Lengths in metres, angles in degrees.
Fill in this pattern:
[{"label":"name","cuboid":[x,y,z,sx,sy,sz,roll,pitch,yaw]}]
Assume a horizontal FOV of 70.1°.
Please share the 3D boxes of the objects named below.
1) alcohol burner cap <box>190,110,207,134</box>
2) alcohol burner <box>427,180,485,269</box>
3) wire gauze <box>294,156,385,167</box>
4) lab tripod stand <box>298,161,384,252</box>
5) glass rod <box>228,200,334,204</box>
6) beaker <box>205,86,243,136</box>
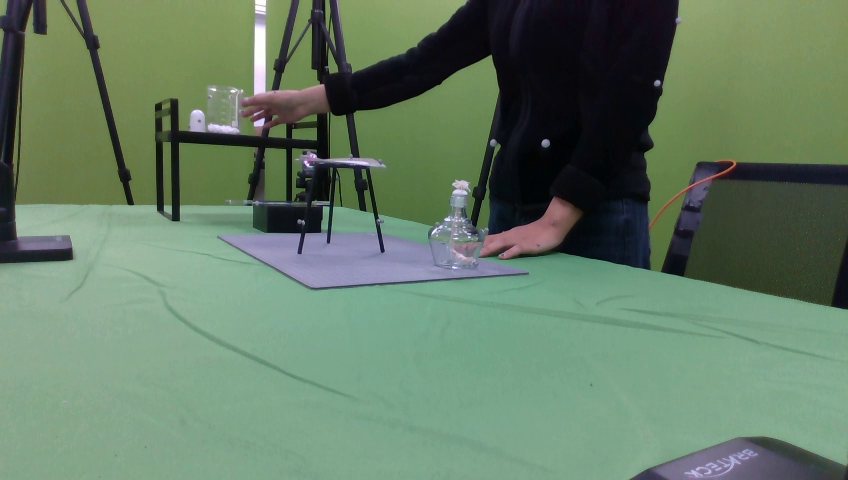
[{"label":"alcohol burner cap","cuboid":[-0.464,-0.242,1.241,0.034,0.048,0.034,1,7,0]},{"label":"alcohol burner","cuboid":[0.044,-0.021,0.807,0.078,0.119,0.078,4,6,0]},{"label":"wire gauze","cuboid":[-0.128,-0.118,0.901,0.125,0.011,0.121,0,8,-14]},{"label":"lab tripod stand","cuboid":[-0.130,-0.051,0.903,0.148,0.131,0.148,3,9,0]},{"label":"glass rod","cuboid":[-0.267,-0.071,1.148,0.201,0.008,0.008,-1,8,-28]},{"label":"beaker","cuboid":[-0.430,-0.278,1.310,0.084,0.100,0.074,5,8,13]}]
